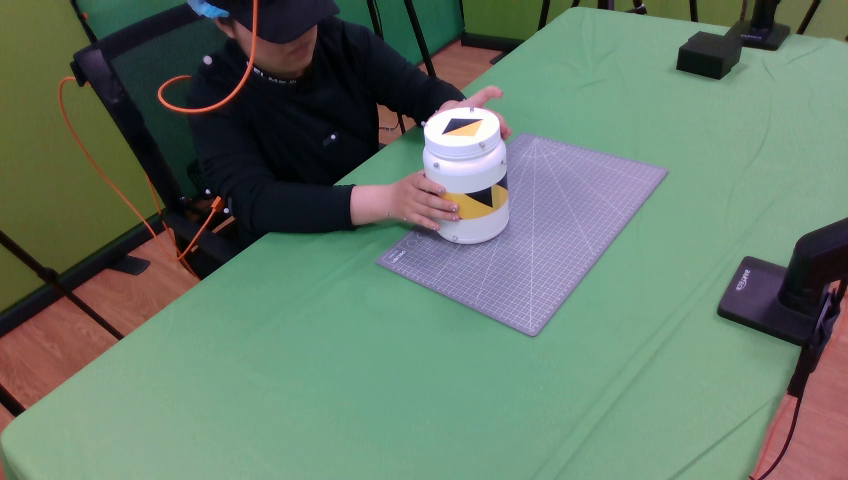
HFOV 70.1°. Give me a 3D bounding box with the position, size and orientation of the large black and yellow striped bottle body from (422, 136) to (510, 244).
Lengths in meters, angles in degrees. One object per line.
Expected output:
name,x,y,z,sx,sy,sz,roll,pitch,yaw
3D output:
large black and yellow striped bottle body,0.067,-0.100,0.959,0.131,0.185,0.130,-5,40,5

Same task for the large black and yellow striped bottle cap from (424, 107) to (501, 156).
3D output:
large black and yellow striped bottle cap,0.058,-0.165,0.905,0.115,0.019,0.114,-5,41,5
